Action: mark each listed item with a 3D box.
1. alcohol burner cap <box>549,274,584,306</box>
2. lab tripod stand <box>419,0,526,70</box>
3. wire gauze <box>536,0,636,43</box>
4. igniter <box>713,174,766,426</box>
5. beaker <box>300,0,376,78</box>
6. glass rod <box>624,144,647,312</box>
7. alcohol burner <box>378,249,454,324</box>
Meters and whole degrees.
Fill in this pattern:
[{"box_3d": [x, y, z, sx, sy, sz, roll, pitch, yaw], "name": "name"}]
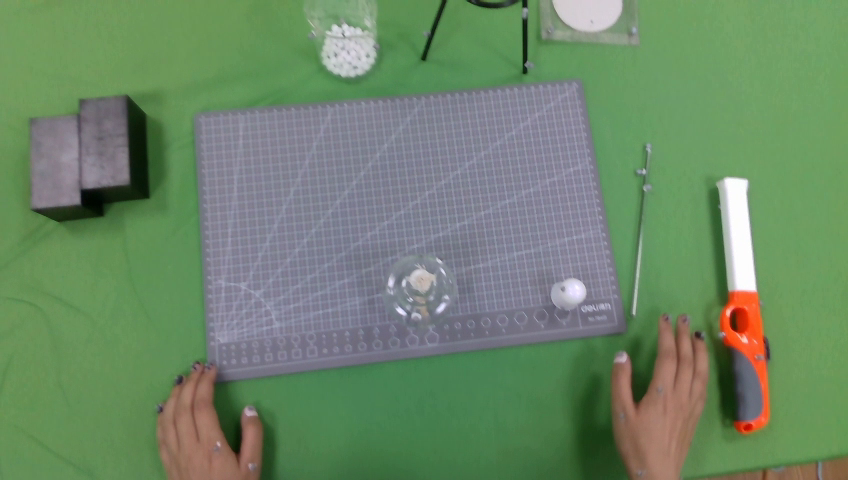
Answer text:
[{"box_3d": [0.154, 0.053, 0.650, 0.034, 0.048, 0.033, 0, 78, -1], "name": "alcohol burner cap"}, {"box_3d": [0.062, -0.262, 0.663, 0.148, 0.132, 0.147, 0, 77, -1], "name": "lab tripod stand"}, {"box_3d": [0.196, -0.299, 0.741, 0.125, 0.011, 0.121, 1, 78, -1], "name": "wire gauze"}, {"box_3d": [0.346, 0.062, 0.669, 0.057, 0.025, 0.275, 4, 79, -13], "name": "igniter"}, {"box_3d": [-0.087, -0.230, 0.667, 0.084, 0.100, 0.074, 39, 80, 4], "name": "beaker"}, {"box_3d": [0.241, -0.016, 0.688, 0.008, 0.008, 0.199, 10, 79, -1], "name": "glass rod"}, {"box_3d": [-0.007, 0.044, 0.607, 0.078, 0.119, 0.077, 1, 76, -3], "name": "alcohol burner"}]
